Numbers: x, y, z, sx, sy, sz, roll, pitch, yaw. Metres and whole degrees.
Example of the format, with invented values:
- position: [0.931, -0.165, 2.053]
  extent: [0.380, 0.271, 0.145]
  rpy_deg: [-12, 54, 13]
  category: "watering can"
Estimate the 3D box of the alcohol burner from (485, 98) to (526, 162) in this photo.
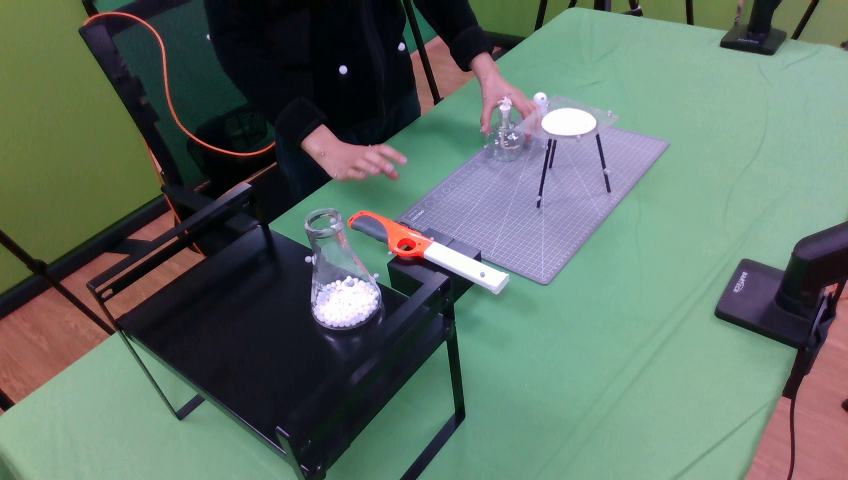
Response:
- position: [0.150, -0.207, 1.122]
  extent: [0.078, 0.119, 0.077]
  rpy_deg: [-5, 39, 4]
  category: "alcohol burner"

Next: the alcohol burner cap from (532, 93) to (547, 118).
- position: [0.240, -0.281, 1.251]
  extent: [0.034, 0.048, 0.033]
  rpy_deg: [-4, 42, 4]
  category: "alcohol burner cap"

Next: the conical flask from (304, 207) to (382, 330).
- position: [-0.088, 0.025, 0.601]
  extent: [0.075, 0.122, 0.075]
  rpy_deg: [-5, 40, 5]
  category: "conical flask"

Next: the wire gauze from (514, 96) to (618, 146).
- position: [0.229, -0.190, 0.969]
  extent: [0.120, 0.011, 0.125]
  rpy_deg: [26, 50, 33]
  category: "wire gauze"

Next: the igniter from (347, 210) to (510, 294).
- position: [-0.002, 0.012, 0.884]
  extent: [0.274, 0.025, 0.057]
  rpy_deg: [24, 53, 28]
  category: "igniter"

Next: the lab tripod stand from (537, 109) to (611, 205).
- position: [0.244, -0.141, 1.014]
  extent: [0.148, 0.132, 0.147]
  rpy_deg: [-3, 39, 3]
  category: "lab tripod stand"
